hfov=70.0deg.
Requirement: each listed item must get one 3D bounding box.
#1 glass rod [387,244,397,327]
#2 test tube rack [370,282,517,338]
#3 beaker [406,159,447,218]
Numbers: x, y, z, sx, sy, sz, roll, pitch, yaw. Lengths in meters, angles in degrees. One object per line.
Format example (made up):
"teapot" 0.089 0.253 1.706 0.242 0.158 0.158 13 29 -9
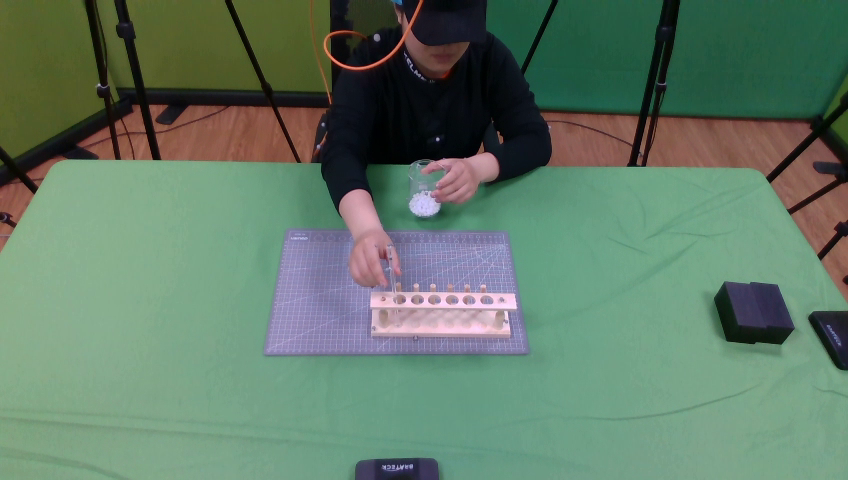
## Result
"glass rod" -0.051 0.078 0.979 0.008 0.201 0.008 -1 45 1
"test tube rack" 0.030 0.117 1.041 0.242 0.085 0.066 1 46 -3
"beaker" 0.004 -0.101 1.216 0.084 0.101 0.073 -13 50 -15
